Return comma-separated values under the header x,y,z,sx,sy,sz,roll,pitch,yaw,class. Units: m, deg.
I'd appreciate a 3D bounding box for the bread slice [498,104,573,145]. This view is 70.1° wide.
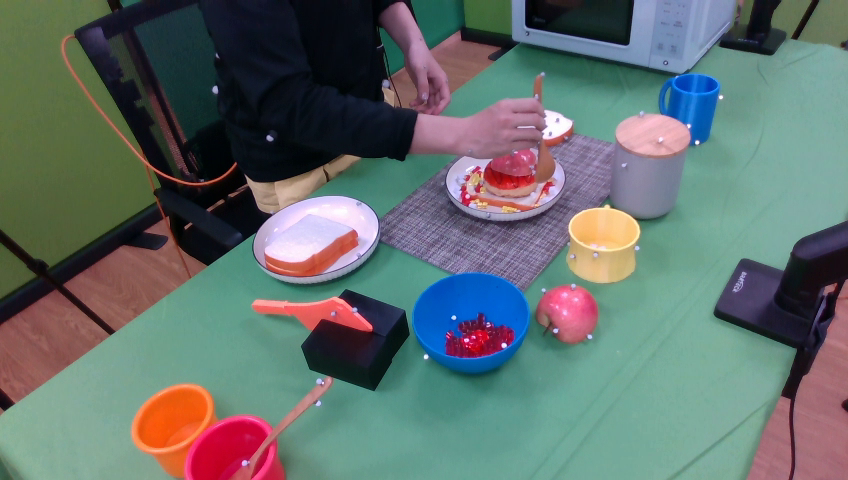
x,y,z,sx,sy,sz,roll,pitch,yaw,class
0.231,-0.231,1.205,0.105,0.019,0.130,-36,47,-29,bread slice

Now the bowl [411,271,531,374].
x,y,z,sx,sy,sz,roll,pitch,yaw,class
0.062,0.119,0.780,0.151,0.077,0.150,-4,40,4,bowl

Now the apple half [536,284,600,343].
x,y,z,sx,sy,sz,roll,pitch,yaw,class
0.196,0.090,0.815,0.075,0.053,0.080,-22,42,-20,apple half

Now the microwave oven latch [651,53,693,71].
x,y,z,sx,sy,sz,roll,pitch,yaw,class
0.532,-0.386,1.301,0.078,0.029,0.030,27,52,34,microwave oven latch

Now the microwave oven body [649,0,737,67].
x,y,z,sx,sy,sz,roll,pitch,yaw,class
0.475,-0.602,1.411,0.438,0.261,0.327,23,50,32,microwave oven body

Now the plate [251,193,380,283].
x,y,z,sx,sy,sz,roll,pitch,yaw,class
-0.174,-0.001,0.984,0.209,0.038,0.208,-4,41,4,plate

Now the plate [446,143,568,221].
x,y,z,sx,sy,sz,roll,pitch,yaw,class
0.142,-0.097,1.045,0.207,0.039,0.206,-4,40,4,plate

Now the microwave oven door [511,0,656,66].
x,y,z,sx,sy,sz,roll,pitch,yaw,class
0.350,-0.539,1.348,0.353,0.245,0.039,24,50,31,microwave oven door

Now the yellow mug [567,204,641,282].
x,y,z,sx,sy,sz,roll,pitch,yaw,class
0.268,-0.005,0.905,0.099,0.064,0.130,7,42,15,yellow mug

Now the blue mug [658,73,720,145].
x,y,z,sx,sy,sz,roll,pitch,yaw,class
0.483,-0.250,1.127,0.082,0.106,0.115,-26,44,-19,blue mug

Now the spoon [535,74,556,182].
x,y,z,sx,sy,sz,roll,pitch,yaw,class
0.179,-0.164,0.919,0.042,0.195,0.021,-29,41,-14,spoon

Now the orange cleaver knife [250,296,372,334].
x,y,z,sx,sy,sz,roll,pitch,yaw,class
-0.159,0.103,0.828,0.210,0.078,0.012,-4,43,39,orange cleaver knife

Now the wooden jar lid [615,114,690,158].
x,y,z,sx,sy,sz,roll,pitch,yaw,class
0.347,-0.155,0.923,0.108,0.021,0.108,-3,44,4,wooden jar lid

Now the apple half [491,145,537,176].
x,y,z,sx,sy,sz,roll,pitch,yaw,class
0.148,-0.139,0.995,0.081,0.033,0.081,1,38,0,apple half

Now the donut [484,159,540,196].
x,y,z,sx,sy,sz,roll,pitch,yaw,class
0.150,-0.112,1.018,0.099,0.048,0.098,-4,40,4,donut

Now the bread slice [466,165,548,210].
x,y,z,sx,sy,sz,roll,pitch,yaw,class
0.141,-0.093,1.041,0.133,0.018,0.107,8,42,20,bread slice

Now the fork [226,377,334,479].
x,y,z,sx,sy,sz,roll,pitch,yaw,class
-0.163,0.216,0.647,0.207,0.019,0.028,-49,41,16,fork

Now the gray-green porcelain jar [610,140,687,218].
x,y,z,sx,sy,sz,roll,pitch,yaw,class
0.354,-0.106,0.964,0.106,0.127,0.105,-4,41,4,gray-green porcelain jar
